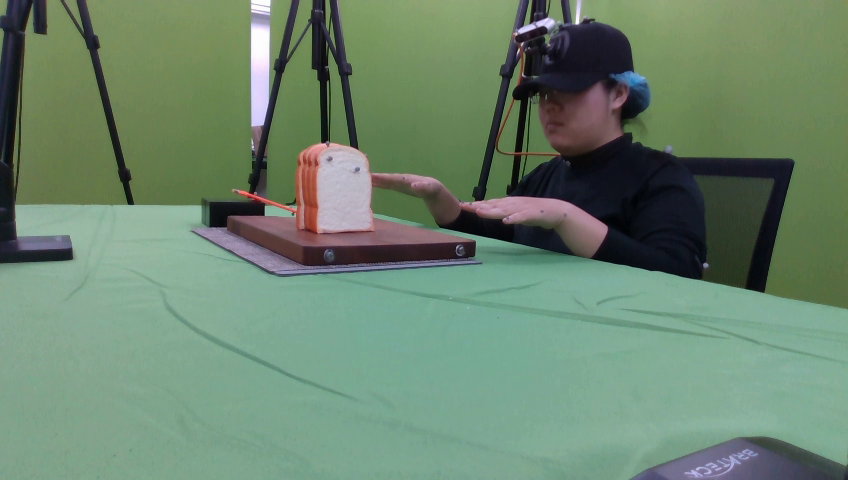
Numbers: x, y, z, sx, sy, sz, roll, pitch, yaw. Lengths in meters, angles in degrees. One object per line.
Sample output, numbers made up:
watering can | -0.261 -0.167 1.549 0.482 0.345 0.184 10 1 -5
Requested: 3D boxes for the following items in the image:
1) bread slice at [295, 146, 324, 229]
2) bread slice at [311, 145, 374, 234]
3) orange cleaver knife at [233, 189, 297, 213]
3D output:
bread slice | -0.157 -0.082 0.959 0.105 0.131 0.019 -1 -2 -43
bread slice | -0.127 -0.076 0.919 0.107 0.134 0.018 -8 8 -41
orange cleaver knife | -0.279 -0.066 1.219 0.212 0.012 0.077 19 -3 -21
